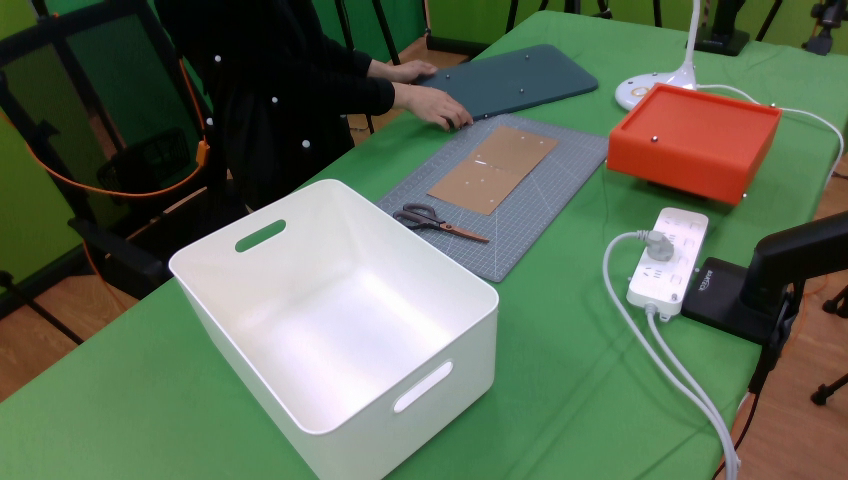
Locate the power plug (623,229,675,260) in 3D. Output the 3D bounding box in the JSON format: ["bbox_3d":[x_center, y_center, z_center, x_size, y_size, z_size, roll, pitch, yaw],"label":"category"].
[{"bbox_3d":[0.327,0.007,0.878,0.072,0.053,0.035,25,51,33],"label":"power plug"}]

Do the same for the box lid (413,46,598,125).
[{"bbox_3d":[0.177,-0.360,1.382,0.373,0.015,0.261,-16,40,-11],"label":"box lid"}]

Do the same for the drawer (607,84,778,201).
[{"bbox_3d":[0.438,-0.167,0.996,0.210,0.073,0.195,23,48,30],"label":"drawer"}]

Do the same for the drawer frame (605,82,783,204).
[{"bbox_3d":[0.441,-0.167,0.995,0.212,0.083,0.202,23,48,30],"label":"drawer frame"}]

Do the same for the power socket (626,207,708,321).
[{"bbox_3d":[0.360,0.026,0.886,0.072,0.033,0.227,16,46,26],"label":"power socket"}]

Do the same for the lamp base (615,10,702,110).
[{"bbox_3d":[0.484,-0.364,1.211,0.180,0.181,0.159,-15,41,-14],"label":"lamp base"}]

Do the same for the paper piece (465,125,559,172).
[{"bbox_3d":[0.171,-0.177,1.168,0.137,0.009,0.136,21,44,31],"label":"paper piece"}]

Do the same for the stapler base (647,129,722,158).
[{"bbox_3d":[0.439,-0.167,1.023,0.131,0.024,0.041,-17,25,-15],"label":"stapler base"}]

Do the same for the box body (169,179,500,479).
[{"bbox_3d":[-0.110,0.103,0.761,0.255,0.161,0.361,-33,46,-27],"label":"box body"}]

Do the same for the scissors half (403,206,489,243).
[{"bbox_3d":[0.036,-0.025,1.011,0.174,0.013,0.040,25,31,33],"label":"scissors half"}]

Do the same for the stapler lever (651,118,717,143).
[{"bbox_3d":[0.436,-0.192,1.014,0.118,0.040,0.026,-15,25,-16],"label":"stapler lever"}]

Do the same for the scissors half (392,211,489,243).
[{"bbox_3d":[0.024,-0.018,0.995,0.174,0.013,0.040,15,32,18],"label":"scissors half"}]

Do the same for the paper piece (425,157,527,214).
[{"bbox_3d":[0.094,-0.102,1.089,0.134,0.004,0.136,22,48,30],"label":"paper piece"}]
